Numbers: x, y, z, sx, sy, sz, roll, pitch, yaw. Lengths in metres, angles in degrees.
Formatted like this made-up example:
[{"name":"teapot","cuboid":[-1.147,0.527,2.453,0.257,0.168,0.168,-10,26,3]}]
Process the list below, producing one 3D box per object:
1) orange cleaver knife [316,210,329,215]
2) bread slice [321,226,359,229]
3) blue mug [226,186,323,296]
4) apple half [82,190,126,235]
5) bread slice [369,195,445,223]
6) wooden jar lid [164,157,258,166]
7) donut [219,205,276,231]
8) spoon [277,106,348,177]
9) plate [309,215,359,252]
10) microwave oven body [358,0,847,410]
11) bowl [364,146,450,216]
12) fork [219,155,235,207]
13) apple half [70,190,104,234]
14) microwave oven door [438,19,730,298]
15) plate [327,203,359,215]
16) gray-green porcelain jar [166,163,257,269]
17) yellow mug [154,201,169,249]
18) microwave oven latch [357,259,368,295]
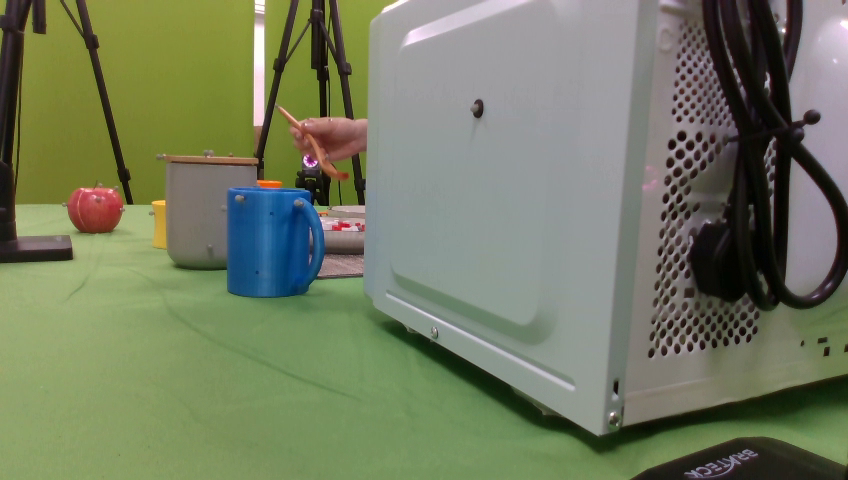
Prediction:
[{"name":"orange cleaver knife","cuboid":[-0.259,-0.064,1.423,0.212,0.012,0.077,-4,3,-30]},{"name":"bread slice","cuboid":[-0.124,-0.008,0.937,0.131,0.019,0.105,4,8,32]},{"name":"blue mug","cuboid":[-0.148,0.000,0.618,0.116,0.106,0.083,7,9,33]},{"name":"apple half","cuboid":[-0.516,-0.046,0.994,0.032,0.081,0.081,0,6,26]},{"name":"bread slice","cuboid":[-0.040,-0.057,1.142,0.107,0.018,0.133,-9,-8,-40]},{"name":"wooden jar lid","cuboid":[-0.261,-0.093,0.746,0.108,0.020,0.108,0,9,0]},{"name":"donut","cuboid":[-0.316,-0.038,1.083,0.099,0.048,0.099,3,7,0]},{"name":"spoon","cuboid":[-0.185,-0.162,0.983,0.193,0.021,0.042,50,18,25]},{"name":"plate","cuboid":[-0.130,-0.011,0.945,0.208,0.039,0.207,2,7,0]},{"name":"microwave oven body","cuboid":[0.210,-0.051,0.471,0.444,0.260,0.324,-1,7,-28]},{"name":"bowl","cuboid":[-0.016,-0.090,1.008,0.151,0.077,0.151,-23,0,0]},{"name":"fork","cuboid":[-0.459,-0.134,1.415,0.028,0.018,0.207,-1,-34,-25]},{"name":"apple half","cuboid":[-0.552,-0.047,1.010,0.053,0.074,0.081,-1,9,26]},{"name":"microwave oven door","cuboid":[0.181,-0.076,0.618,0.358,0.243,0.039,-2,8,-28]},{"name":"plate","cuboid":[-0.102,-0.053,1.299,0.209,0.038,0.209,2,8,0]},{"name":"gray-green porcelain jar","cuboid":[-0.263,-0.031,0.754,0.106,0.126,0.106,2,7,0]},{"name":"yellow mug","cuboid":[-0.337,-0.022,0.899,0.130,0.064,0.100,7,10,34]},{"name":"microwave oven latch","cuboid":[-0.019,0.031,0.529,0.079,0.029,0.030,-1,7,-26]}]
